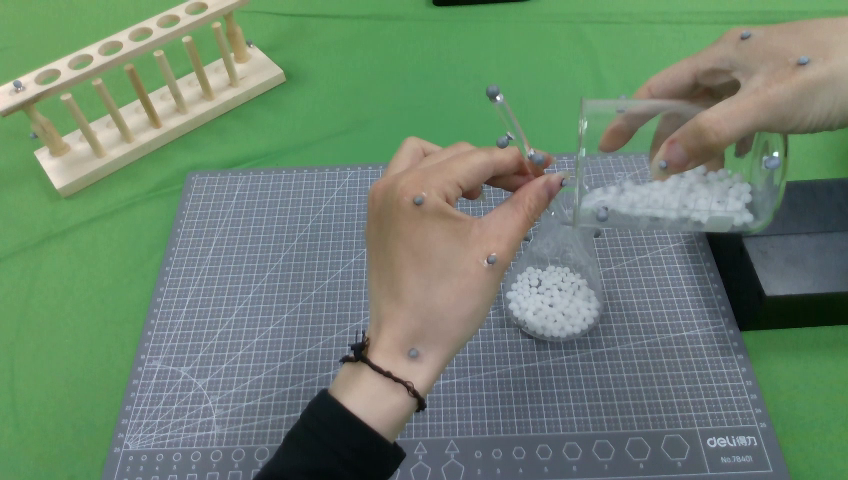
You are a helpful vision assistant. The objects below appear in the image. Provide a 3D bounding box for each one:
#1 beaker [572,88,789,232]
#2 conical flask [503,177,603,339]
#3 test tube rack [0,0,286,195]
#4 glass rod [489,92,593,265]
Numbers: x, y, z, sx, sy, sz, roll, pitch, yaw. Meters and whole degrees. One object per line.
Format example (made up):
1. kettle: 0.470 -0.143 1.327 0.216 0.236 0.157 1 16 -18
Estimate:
1. beaker: 0.133 -0.040 0.330 0.100 0.085 0.073 3 56 13
2. conical flask: 0.095 0.011 0.418 0.075 0.123 0.074 -2 54 3
3. test tube rack: -0.262 -0.150 0.582 0.242 0.086 0.066 -35 59 -20
4. glass rod: 0.074 -0.024 0.352 0.008 0.202 0.008 -12 61 23
